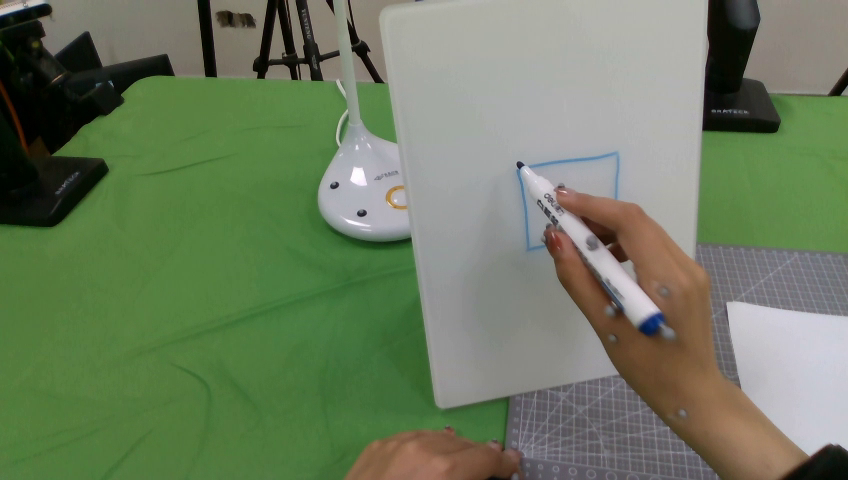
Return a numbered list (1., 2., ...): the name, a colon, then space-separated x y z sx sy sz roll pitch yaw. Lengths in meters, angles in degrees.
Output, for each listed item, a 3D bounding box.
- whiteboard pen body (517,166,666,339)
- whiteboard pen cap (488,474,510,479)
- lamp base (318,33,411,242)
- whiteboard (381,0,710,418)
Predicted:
1. whiteboard pen body: 0.092 0.000 0.356 0.017 0.017 0.139 -20 53 -16
2. whiteboard pen cap: 0.061 0.175 0.419 0.033 0.018 0.018 6 41 28
3. lamp base: -0.052 -0.116 0.645 0.161 0.182 0.177 -29 45 -25
4. whiteboard: 0.089 -0.041 0.497 0.217 0.307 0.142 -10 22 -5
